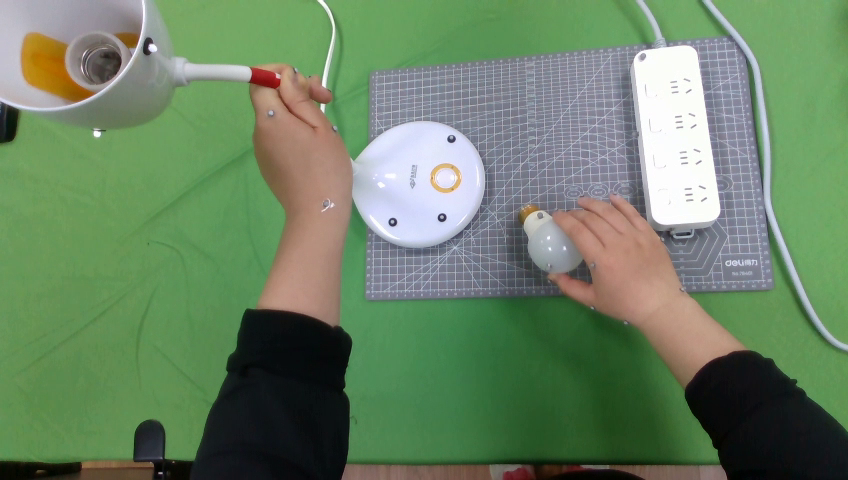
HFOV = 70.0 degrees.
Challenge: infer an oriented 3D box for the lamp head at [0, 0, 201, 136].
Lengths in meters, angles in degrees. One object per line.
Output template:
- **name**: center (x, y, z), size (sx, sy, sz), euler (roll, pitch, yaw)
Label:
- **lamp head**: center (-0.215, -0.119, 0.400), size (0.112, 0.123, 0.112), euler (0, 84, 3)

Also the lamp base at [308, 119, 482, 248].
- **lamp base**: center (-0.038, -0.084, 0.656), size (0.179, 0.181, 0.159), euler (-9, 76, 12)

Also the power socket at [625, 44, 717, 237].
- **power socket**: center (0.274, -0.117, 0.679), size (0.072, 0.033, 0.225), euler (-5, 76, 9)

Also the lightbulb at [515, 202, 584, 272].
- **lightbulb**: center (0.129, -0.009, 0.654), size (0.059, 0.060, 0.106), euler (-34, 39, 2)
